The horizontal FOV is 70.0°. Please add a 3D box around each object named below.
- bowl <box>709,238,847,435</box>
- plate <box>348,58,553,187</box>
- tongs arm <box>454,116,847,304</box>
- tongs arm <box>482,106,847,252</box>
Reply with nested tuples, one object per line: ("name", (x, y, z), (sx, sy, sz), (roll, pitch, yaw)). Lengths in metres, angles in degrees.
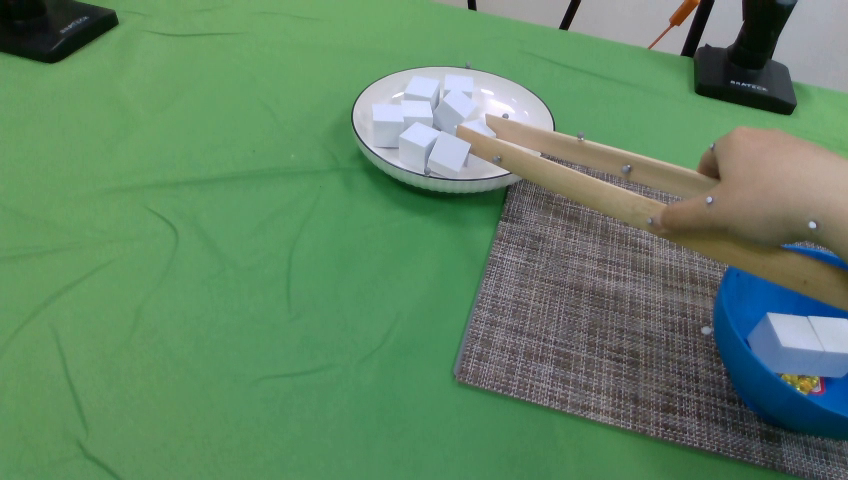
("bowl", (0.268, 0.078, 0.429), (0.151, 0.077, 0.150), (4, 46, -3))
("plate", (0.026, -0.120, 0.623), (0.209, 0.038, 0.207), (3, 45, -3))
("tongs arm", (0.147, -0.038, 0.453), (0.028, 0.028, 0.383), (-21, 35, -31))
("tongs arm", (0.167, -0.048, 0.464), (0.051, 0.027, 0.381), (-27, 37, -32))
